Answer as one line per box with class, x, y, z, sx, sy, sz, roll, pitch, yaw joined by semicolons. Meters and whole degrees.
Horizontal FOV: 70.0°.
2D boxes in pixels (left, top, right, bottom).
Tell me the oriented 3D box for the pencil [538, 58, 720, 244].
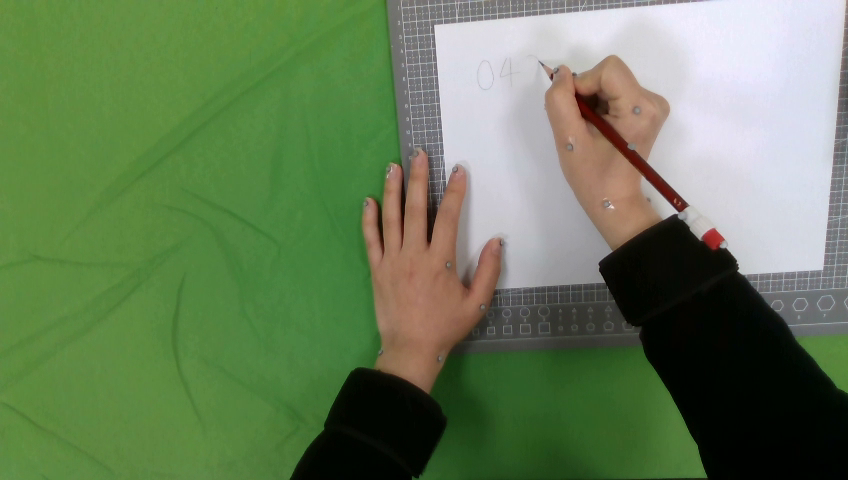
pencil;0.127;-0.068;0.402;0.012;0.192;0.012;-20;145;-15
